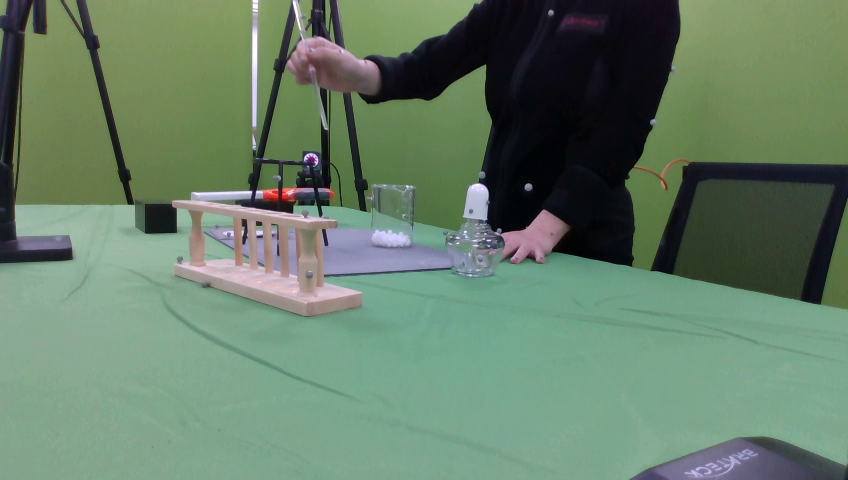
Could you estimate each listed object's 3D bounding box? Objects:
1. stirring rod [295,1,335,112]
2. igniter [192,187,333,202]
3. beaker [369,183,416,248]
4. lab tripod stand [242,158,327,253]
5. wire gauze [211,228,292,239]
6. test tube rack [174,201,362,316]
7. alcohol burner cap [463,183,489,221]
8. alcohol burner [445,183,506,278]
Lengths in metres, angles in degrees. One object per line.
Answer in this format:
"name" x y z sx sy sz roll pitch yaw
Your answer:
"stirring rod" -0.164 -0.277 0.912 0.006 0.176 0.014 -19 -2 3
"igniter" -0.316 -0.090 1.213 0.278 0.025 0.057 -5 12 -32
"beaker" -0.050 -0.039 0.971 0.074 0.100 0.083 -1 9 -25
"lab tripod stand" -0.207 -0.054 0.895 0.148 0.131 0.148 2 5 0
"wire gauze" -0.298 -0.013 1.039 0.122 0.011 0.124 -2 6 -27
"test tube rack" -0.169 0.010 0.622 0.241 0.085 0.067 9 9 41
"alcohol burner cap" 0.067 -0.048 0.765 0.034 0.048 0.034 5 5 0
"alcohol burner" 0.066 -0.013 0.770 0.078 0.119 0.078 0 7 0
